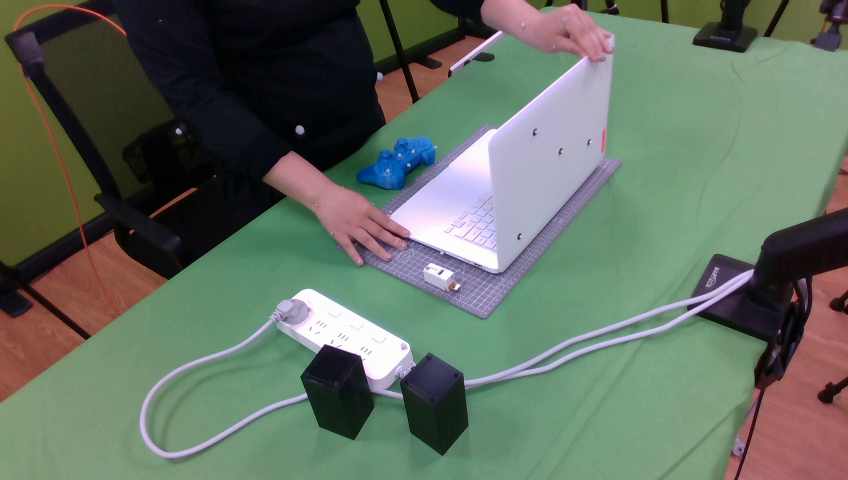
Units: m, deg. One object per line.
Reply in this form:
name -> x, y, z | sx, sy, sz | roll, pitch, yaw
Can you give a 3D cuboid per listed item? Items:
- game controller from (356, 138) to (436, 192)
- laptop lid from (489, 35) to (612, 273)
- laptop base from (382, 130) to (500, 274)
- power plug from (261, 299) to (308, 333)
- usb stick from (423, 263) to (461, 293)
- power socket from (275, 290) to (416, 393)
game controller -> -0.049, -0.149, 1.135 | 0.096, 0.052, 0.155 | 27, 51, 28
laptop lid -> 0.202, -0.135, 0.914 | 0.013, 0.243, 0.358 | 21, 46, 33
laptop base -> 0.123, -0.081, 1.049 | 0.233, 0.023, 0.355 | 20, 47, 33
power plug -> -0.193, 0.110, 0.830 | 0.073, 0.053, 0.035 | -36, 48, -23
usb stick -> 0.028, 0.058, 0.888 | 0.059, 0.027, 0.021 | 24, 48, 29
power socket -> -0.114, 0.133, 0.821 | 0.225, 0.033, 0.072 | 24, 48, 31
